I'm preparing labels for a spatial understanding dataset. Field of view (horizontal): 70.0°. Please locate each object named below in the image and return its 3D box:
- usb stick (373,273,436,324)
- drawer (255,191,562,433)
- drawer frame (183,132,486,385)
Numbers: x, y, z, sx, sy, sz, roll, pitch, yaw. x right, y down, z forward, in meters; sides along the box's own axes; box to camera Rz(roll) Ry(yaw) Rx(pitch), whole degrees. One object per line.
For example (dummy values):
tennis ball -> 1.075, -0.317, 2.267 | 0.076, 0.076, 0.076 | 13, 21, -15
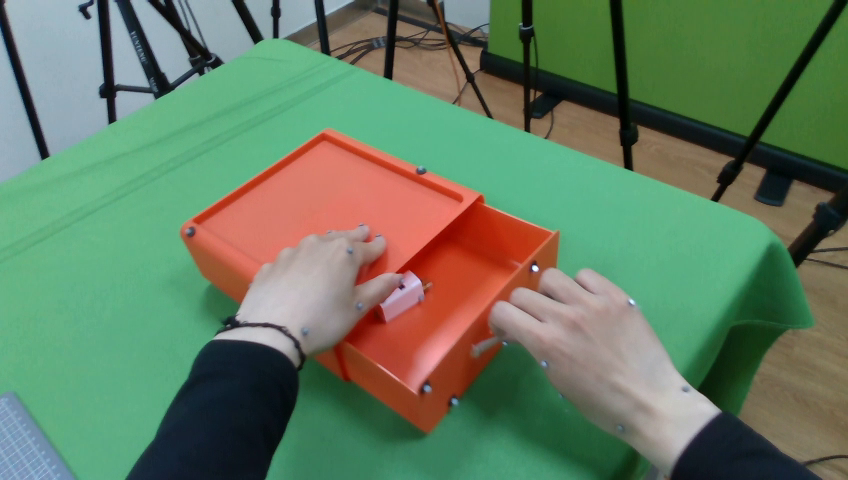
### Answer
usb stick -> -0.016, 0.050, 0.555 | 0.059, 0.027, 0.021 | -28, 49, -19
drawer -> -0.016, 0.035, 0.543 | 0.210, 0.074, 0.194 | 27, 54, 31
drawer frame -> -0.080, 0.003, 0.584 | 0.211, 0.083, 0.201 | 26, 54, 31
